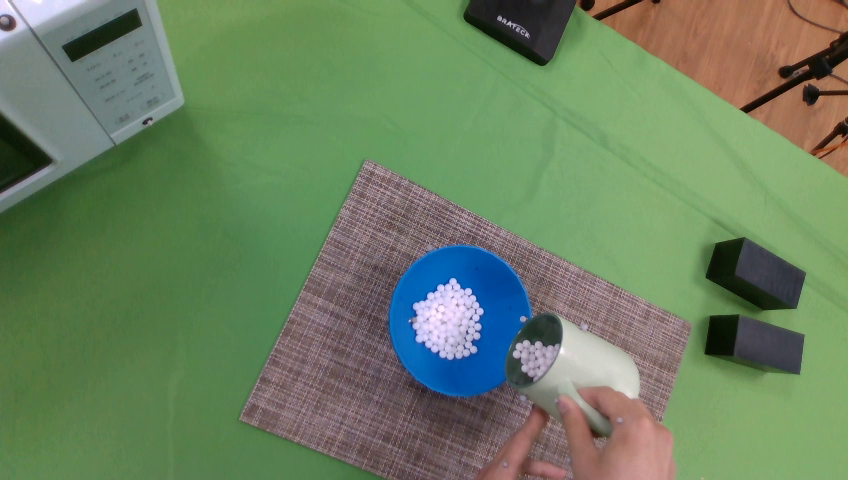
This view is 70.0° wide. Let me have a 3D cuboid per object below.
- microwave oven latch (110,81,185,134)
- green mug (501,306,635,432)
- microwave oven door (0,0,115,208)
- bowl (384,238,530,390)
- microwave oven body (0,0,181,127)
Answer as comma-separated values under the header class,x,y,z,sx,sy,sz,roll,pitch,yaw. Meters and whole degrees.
class,x,y,z,sx,sy,sz,roll,pitch,yaw
microwave oven latch,-0.270,-0.134,0.581,0.079,0.029,0.030,-35,93,-17
green mug,0.141,0.129,0.568,0.106,0.124,0.092,35,103,-21
microwave oven door,-0.411,-0.023,0.420,0.355,0.243,0.039,-37,93,-17
bowl,0.026,0.077,0.632,0.152,0.077,0.151,2,82,-15
microwave oven body,-0.467,-0.164,0.427,0.441,0.260,0.326,-37,94,-16
